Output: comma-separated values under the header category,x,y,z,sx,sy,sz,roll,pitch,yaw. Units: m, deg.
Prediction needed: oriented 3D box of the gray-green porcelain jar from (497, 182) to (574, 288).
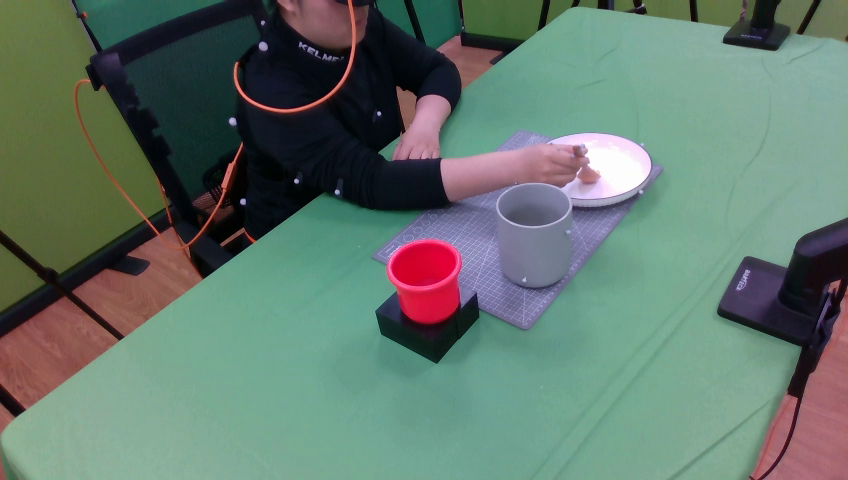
category,x,y,z,sx,sy,sz,roll,pitch,yaw
gray-green porcelain jar,0.161,-0.003,0.870,0.106,0.127,0.105,-5,40,5

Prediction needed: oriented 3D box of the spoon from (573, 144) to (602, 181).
category,x,y,z,sx,sy,sz,roll,pitch,yaw
spoon,0.255,-0.123,0.966,0.041,0.195,0.021,2,79,23

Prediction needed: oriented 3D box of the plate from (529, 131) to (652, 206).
category,x,y,z,sx,sy,sz,roll,pitch,yaw
plate,0.287,-0.121,1.056,0.207,0.039,0.206,-5,40,5
